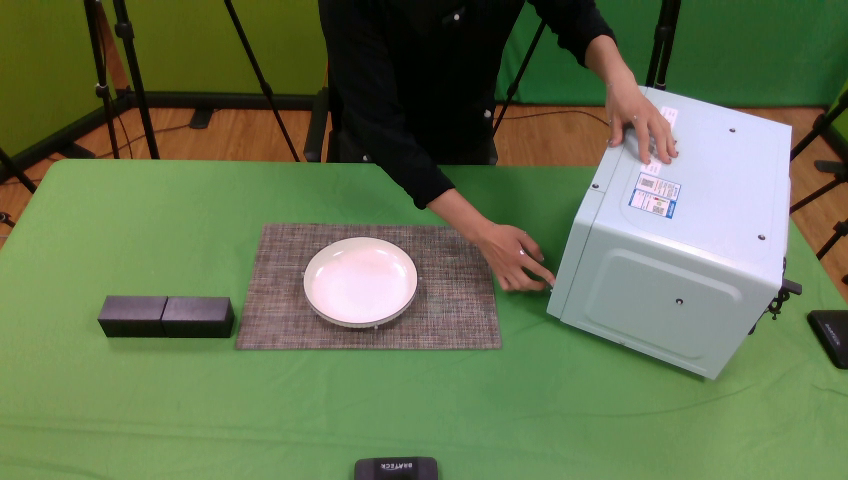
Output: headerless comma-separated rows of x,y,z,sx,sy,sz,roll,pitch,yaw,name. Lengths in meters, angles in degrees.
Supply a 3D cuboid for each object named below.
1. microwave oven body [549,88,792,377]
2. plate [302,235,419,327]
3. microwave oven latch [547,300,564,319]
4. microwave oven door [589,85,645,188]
0.456,-0.028,1.088,0.325,0.261,0.440,20,47,16,microwave oven body
-0.114,0.077,1.098,0.208,0.039,0.206,2,46,-2,plate
0.242,0.102,1.080,0.030,0.029,0.079,22,48,17,microwave oven latch
0.342,-0.107,1.149,0.039,0.245,0.354,20,48,15,microwave oven door
